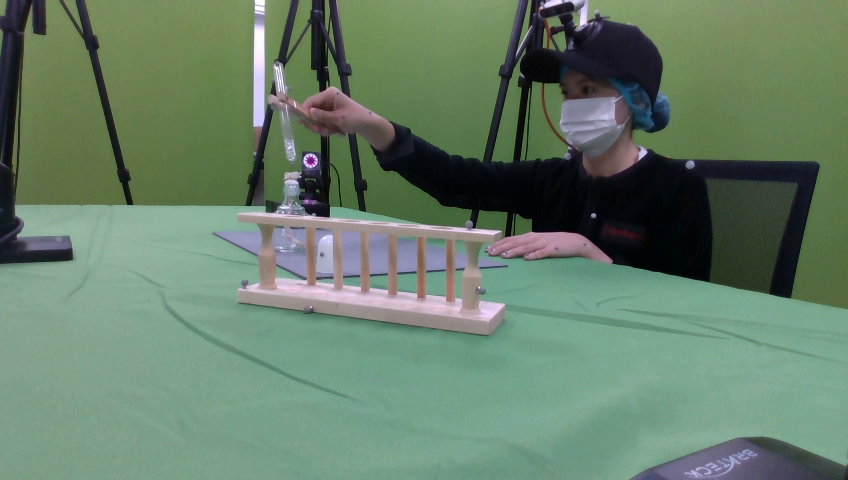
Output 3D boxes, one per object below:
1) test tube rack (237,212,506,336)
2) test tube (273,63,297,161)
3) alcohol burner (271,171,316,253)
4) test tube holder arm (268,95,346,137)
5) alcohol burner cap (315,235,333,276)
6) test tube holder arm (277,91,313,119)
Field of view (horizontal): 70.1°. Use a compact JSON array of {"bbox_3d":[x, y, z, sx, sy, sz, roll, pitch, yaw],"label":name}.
[{"bbox_3d":[-0.049,0.024,0.552,0.242,0.085,0.067,5,8,18],"label":"test tube rack"},{"bbox_3d":[-0.202,-0.187,0.880,0.017,0.150,0.017,-10,-10,-1],"label":"test tube"},{"bbox_3d":[-0.196,-0.041,0.884,0.078,0.119,0.078,3,5,0],"label":"alcohol burner"},{"bbox_3d":[-0.178,-0.192,0.946,0.013,0.015,0.179,-14,-13,26],"label":"test tube holder arm"},{"bbox_3d":[-0.116,0.018,0.728,0.034,0.048,0.034,3,6,0],"label":"alcohol burner cap"},{"bbox_3d":[-0.191,-0.199,0.903,0.010,0.015,0.088,-13,-13,16],"label":"test tube holder arm"}]
